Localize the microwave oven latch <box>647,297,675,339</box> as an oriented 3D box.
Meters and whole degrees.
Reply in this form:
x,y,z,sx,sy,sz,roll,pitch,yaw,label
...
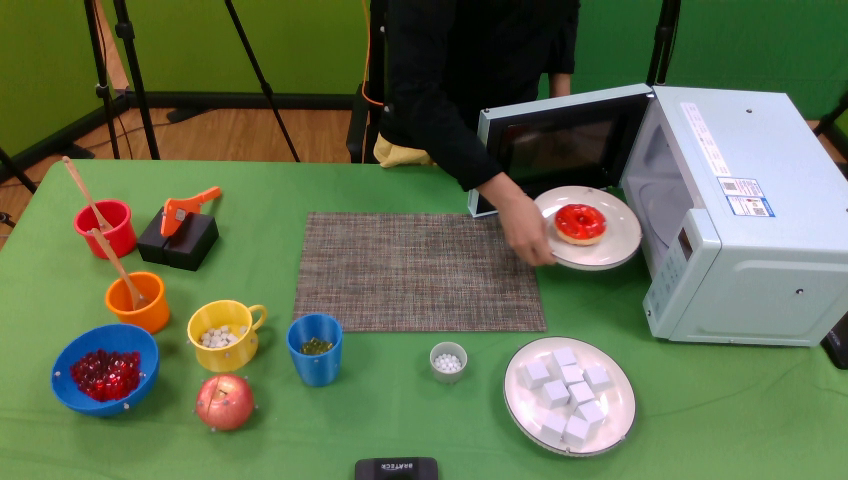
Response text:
x,y,z,sx,sy,sz,roll,pitch,yaw,label
0.413,0.134,1.060,0.030,0.029,0.078,5,45,2,microwave oven latch

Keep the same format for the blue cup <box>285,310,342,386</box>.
x,y,z,sx,sy,sz,roll,pitch,yaw,label
-0.169,0.179,0.958,0.093,0.101,0.092,2,44,-1,blue cup

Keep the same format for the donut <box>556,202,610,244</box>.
x,y,z,sx,sy,sz,roll,pitch,yaw,label
0.292,-0.032,1.116,0.099,0.048,0.098,1,45,-1,donut

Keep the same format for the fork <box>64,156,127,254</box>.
x,y,z,sx,sy,sz,roll,pitch,yaw,label
-0.614,-0.064,1.130,0.028,0.018,0.207,-29,97,-16,fork

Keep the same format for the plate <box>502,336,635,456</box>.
x,y,z,sx,sy,sz,roll,pitch,yaw,label
0.225,0.248,0.963,0.208,0.039,0.206,2,46,-2,plate

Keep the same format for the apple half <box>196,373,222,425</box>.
x,y,z,sx,sy,sz,roll,pitch,yaw,label
-0.322,0.239,0.907,0.033,0.081,0.081,7,46,-1,apple half

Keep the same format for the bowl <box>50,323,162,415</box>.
x,y,z,sx,sy,sz,roll,pitch,yaw,label
-0.472,0.209,0.924,0.151,0.077,0.150,2,45,-2,bowl

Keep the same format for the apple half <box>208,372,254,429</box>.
x,y,z,sx,sy,sz,roll,pitch,yaw,label
-0.282,0.244,0.908,0.053,0.075,0.080,7,43,-1,apple half

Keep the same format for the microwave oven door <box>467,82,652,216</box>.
x,y,z,sx,sy,sz,roll,pitch,yaw,label
0.267,-0.180,1.214,0.356,0.245,0.039,-13,49,-15,microwave oven door

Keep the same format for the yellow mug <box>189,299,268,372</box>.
x,y,z,sx,sy,sz,roll,pitch,yaw,label
-0.315,0.148,1.001,0.131,0.064,0.099,-32,56,-31,yellow mug

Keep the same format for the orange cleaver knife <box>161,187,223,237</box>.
x,y,z,sx,sy,sz,roll,pitch,yaw,label
-0.448,-0.058,1.180,0.012,0.077,0.211,13,17,6,orange cleaver knife

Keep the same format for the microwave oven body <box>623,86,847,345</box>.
x,y,z,sx,sy,sz,roll,pitch,yaw,label
0.567,-0.053,1.118,0.326,0.261,0.439,2,45,-1,microwave oven body

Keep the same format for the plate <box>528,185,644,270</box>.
x,y,z,sx,sy,sz,roll,pitch,yaw,label
0.296,-0.020,1.121,0.209,0.038,0.208,1,48,-1,plate

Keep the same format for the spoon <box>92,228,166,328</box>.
x,y,z,sx,sy,sz,roll,pitch,yaw,label
-0.495,0.062,1.014,0.041,0.194,0.021,-34,13,-32,spoon

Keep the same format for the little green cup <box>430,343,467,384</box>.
x,y,z,sx,sy,sz,roll,pitch,yaw,label
0.039,0.203,0.994,0.061,0.039,0.061,2,46,-2,little green cup
